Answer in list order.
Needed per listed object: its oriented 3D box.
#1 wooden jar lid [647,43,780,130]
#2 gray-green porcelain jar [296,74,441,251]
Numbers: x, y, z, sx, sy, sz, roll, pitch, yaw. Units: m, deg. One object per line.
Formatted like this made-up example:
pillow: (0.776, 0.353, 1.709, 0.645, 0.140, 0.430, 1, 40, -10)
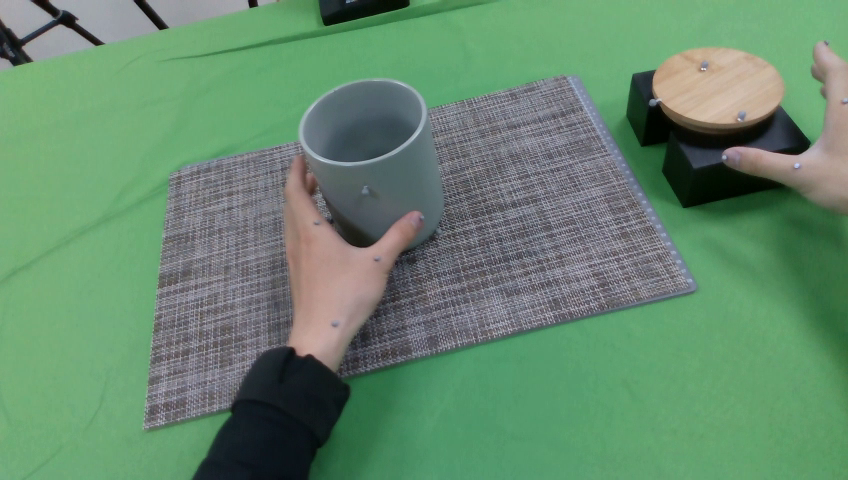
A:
wooden jar lid: (0.256, -0.137, 0.541, 0.108, 0.021, 0.107, -5, 53, 7)
gray-green porcelain jar: (-0.042, -0.061, 0.528, 0.106, 0.128, 0.105, -5, 51, 7)
